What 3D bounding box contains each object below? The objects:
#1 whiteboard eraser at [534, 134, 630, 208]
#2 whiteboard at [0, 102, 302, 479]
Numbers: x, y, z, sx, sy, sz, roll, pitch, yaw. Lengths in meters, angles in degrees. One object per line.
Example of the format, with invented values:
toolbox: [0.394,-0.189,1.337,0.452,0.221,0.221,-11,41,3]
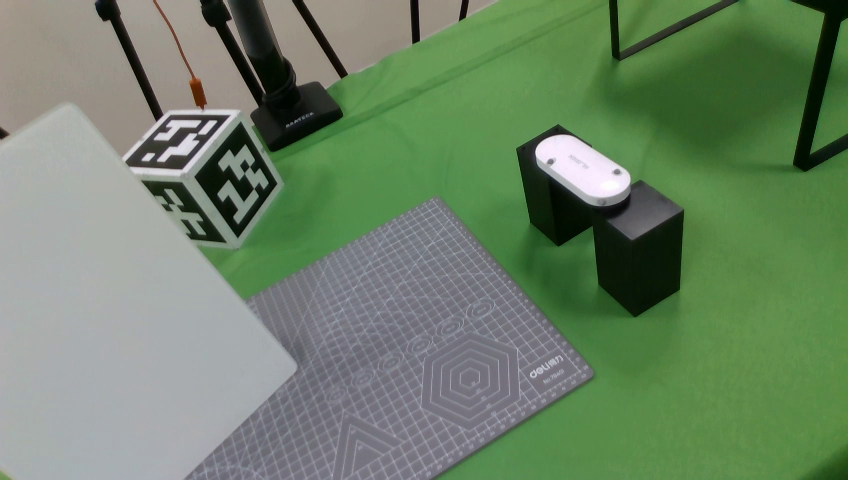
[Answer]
whiteboard eraser: [0.134,-0.062,0.522,0.041,0.019,0.100,-30,45,-11]
whiteboard: [-0.300,0.071,0.533,0.217,0.308,0.143,-44,29,-21]
